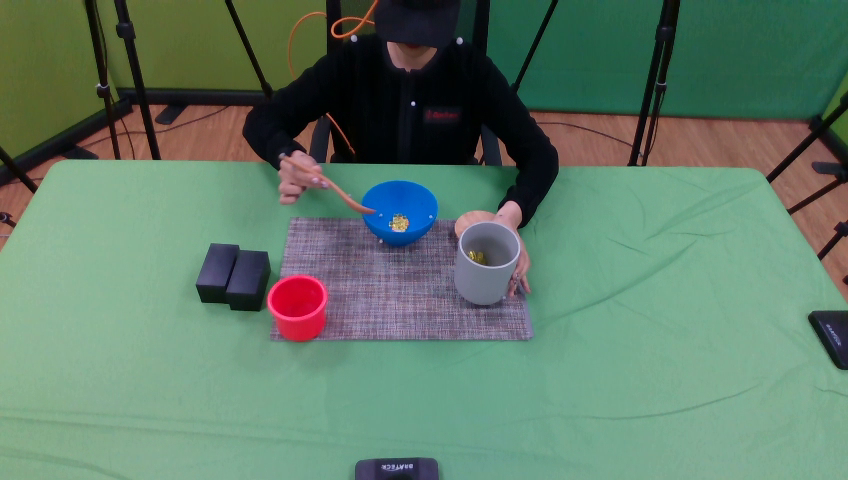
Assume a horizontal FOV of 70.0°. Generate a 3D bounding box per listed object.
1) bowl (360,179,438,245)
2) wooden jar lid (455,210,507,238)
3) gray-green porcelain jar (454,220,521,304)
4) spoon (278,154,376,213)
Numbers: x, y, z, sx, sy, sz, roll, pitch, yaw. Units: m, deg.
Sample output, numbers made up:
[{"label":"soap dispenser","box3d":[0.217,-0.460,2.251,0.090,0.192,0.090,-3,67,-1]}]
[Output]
[{"label":"bowl","box3d":[-0.049,-0.042,1.190,0.151,0.077,0.150,2,46,-2]},{"label":"wooden jar lid","box3d":[0.115,-0.018,1.220,0.108,0.021,0.107,3,47,-3]},{"label":"gray-green porcelain jar","box3d":[0.108,0.045,1.069,0.106,0.127,0.105,2,51,-2]},{"label":"spoon","box3d":[-0.168,-0.098,1.060,0.194,0.041,0.021,35,84,-17]}]
